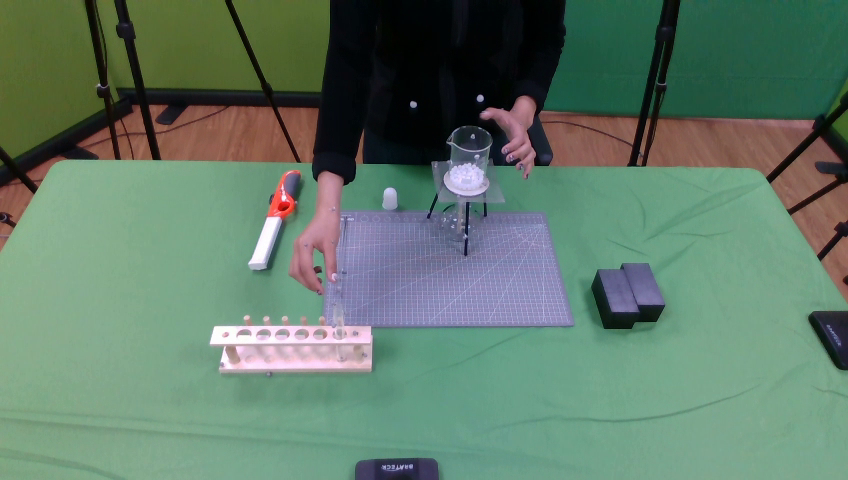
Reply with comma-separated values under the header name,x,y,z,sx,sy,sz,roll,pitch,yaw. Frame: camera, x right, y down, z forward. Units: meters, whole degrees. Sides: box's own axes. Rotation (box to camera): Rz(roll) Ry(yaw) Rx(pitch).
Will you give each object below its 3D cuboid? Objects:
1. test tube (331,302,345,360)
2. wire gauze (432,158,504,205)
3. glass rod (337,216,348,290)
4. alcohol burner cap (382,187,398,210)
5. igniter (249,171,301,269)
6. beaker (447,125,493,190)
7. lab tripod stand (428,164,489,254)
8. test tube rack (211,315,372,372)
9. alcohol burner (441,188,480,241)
name,x,y,z,sx,sy,sz,roll,pitch,yaw
test tube,-0.132,0.144,0.937,0.017,0.151,0.017,2,49,-3
wire gauze,0.081,-0.111,1.138,0.125,0.011,0.120,0,48,-7
glass rod,-0.158,0.021,1.171,0.008,0.008,0.198,1,44,-2
alcohol burner cap,-0.072,-0.090,1.266,0.034,0.048,0.033,2,47,-2
igniter,-0.297,-0.049,1.220,0.057,0.025,0.275,-1,45,9
beaker,0.079,-0.148,1.106,0.084,0.101,0.073,-3,47,-7
lab tripod stand,0.078,-0.068,1.188,0.148,0.132,0.147,3,47,-3
test tube rack,-0.208,0.164,0.982,0.242,0.085,0.066,1,46,-4
alcohol burner,0.073,-0.055,1.189,0.078,0.120,0.077,1,47,-1
